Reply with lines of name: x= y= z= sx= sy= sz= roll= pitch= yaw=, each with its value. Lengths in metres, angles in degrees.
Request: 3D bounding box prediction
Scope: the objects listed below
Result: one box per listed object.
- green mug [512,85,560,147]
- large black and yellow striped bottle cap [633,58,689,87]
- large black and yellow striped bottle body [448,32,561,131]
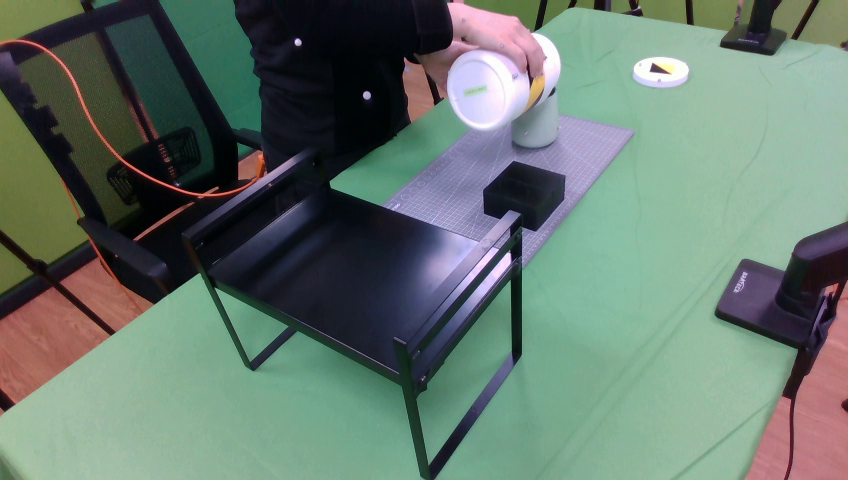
green mug: x=0.217 y=-0.251 z=1.169 sx=0.092 sy=0.105 sz=0.125 roll=2 pitch=41 yaw=12
large black and yellow striped bottle cap: x=0.522 y=-0.370 z=1.331 sx=0.115 sy=0.019 sz=0.114 roll=-3 pitch=41 yaw=3
large black and yellow striped bottle body: x=0.142 y=-0.274 z=1.023 sx=0.130 sy=0.131 sz=0.185 roll=23 pitch=41 yaw=31
